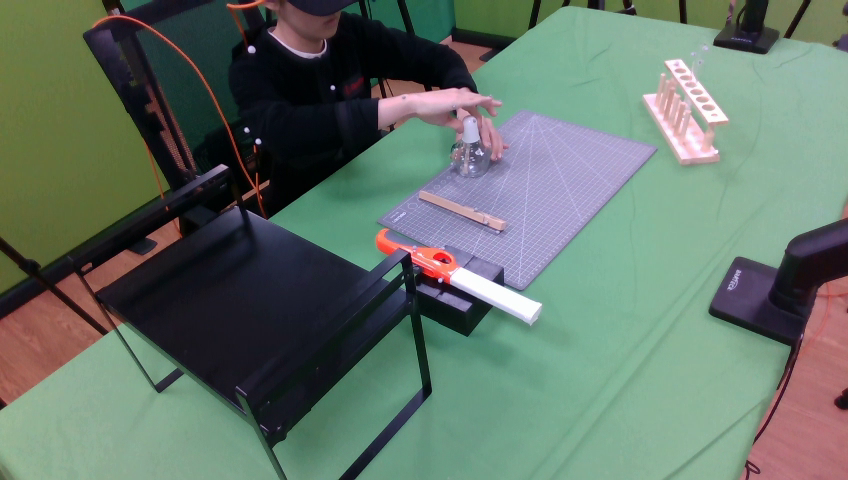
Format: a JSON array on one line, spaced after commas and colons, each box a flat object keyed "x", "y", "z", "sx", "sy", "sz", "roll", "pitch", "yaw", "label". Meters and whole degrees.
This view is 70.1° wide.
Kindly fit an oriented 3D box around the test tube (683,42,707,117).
[{"x": 0.497, "y": -0.291, "z": 1.114, "sx": 0.017, "sy": 0.151, "sz": 0.017, "roll": -4, "pitch": 44, "yaw": 4, "label": "test tube"}]

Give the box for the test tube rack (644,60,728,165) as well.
[{"x": 0.485, "y": -0.246, "z": 1.140, "sx": 0.067, "sy": 0.085, "sz": 0.241, "roll": -5, "pitch": 41, "yaw": 4, "label": "test tube rack"}]

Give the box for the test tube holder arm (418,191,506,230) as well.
[{"x": 0.062, "y": -0.052, "z": 1.024, "sx": 0.177, "sy": 0.015, "sz": 0.013, "roll": 23, "pitch": 15, "yaw": 32, "label": "test tube holder arm"}]

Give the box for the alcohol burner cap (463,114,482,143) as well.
[{"x": 0.085, "y": -0.200, "z": 1.073, "sx": 0.034, "sy": 0.048, "sz": 0.033, "roll": -5, "pitch": 40, "yaw": 4, "label": "alcohol burner cap"}]

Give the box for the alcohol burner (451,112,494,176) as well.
[{"x": 0.087, "y": -0.176, "z": 1.092, "sx": 0.078, "sy": 0.119, "sz": 0.077, "roll": -5, "pitch": 41, "yaw": 5, "label": "alcohol burner"}]

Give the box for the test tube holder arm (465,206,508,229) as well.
[{"x": 0.100, "y": -0.038, "z": 1.005, "sx": 0.087, "sy": 0.015, "sz": 0.010, "roll": 23, "pitch": 15, "yaw": 32, "label": "test tube holder arm"}]

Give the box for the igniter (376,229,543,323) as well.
[{"x": 0.038, "y": 0.044, "z": 0.843, "sx": 0.274, "sy": 0.025, "sz": 0.057, "roll": 25, "pitch": 47, "yaw": 29, "label": "igniter"}]
